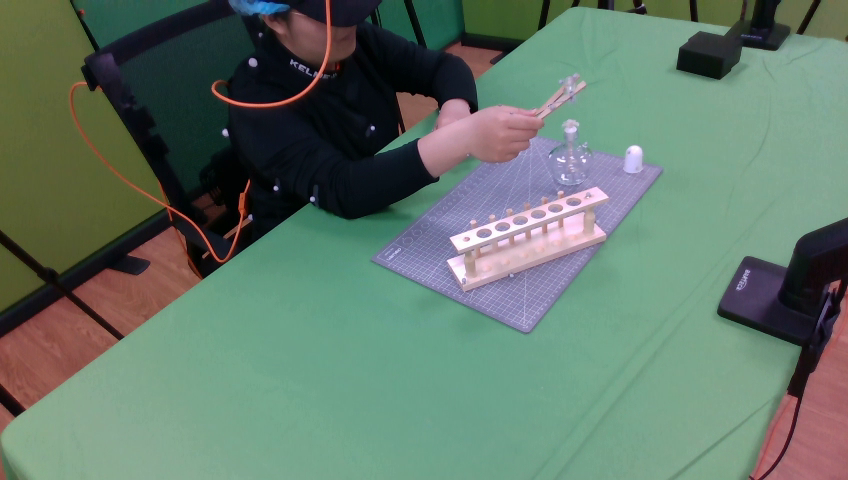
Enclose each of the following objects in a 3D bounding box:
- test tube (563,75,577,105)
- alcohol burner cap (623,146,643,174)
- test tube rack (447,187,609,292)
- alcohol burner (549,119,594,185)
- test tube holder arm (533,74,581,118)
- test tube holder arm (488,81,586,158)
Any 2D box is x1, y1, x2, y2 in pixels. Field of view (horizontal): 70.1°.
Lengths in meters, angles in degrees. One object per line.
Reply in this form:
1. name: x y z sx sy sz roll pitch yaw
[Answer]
1. test tube: 0.222 -0.224 0.914 0.017 0.017 0.151 3 3 15
2. alcohol burner cap: 0.369 -0.143 1.062 0.034 0.048 0.033 -6 41 6
3. test tube rack: 0.155 -0.011 0.913 0.243 0.085 0.066 -19 41 -11
4. alcohol burner: 0.254 -0.155 1.043 0.078 0.120 0.077 -7 40 6
5. test tube holder arm: 0.198 -0.213 0.905 0.010 0.087 0.015 50 20 13
6. test tube holder arm: 0.169 -0.181 0.920 0.178 0.015 0.013 -38 78 21
